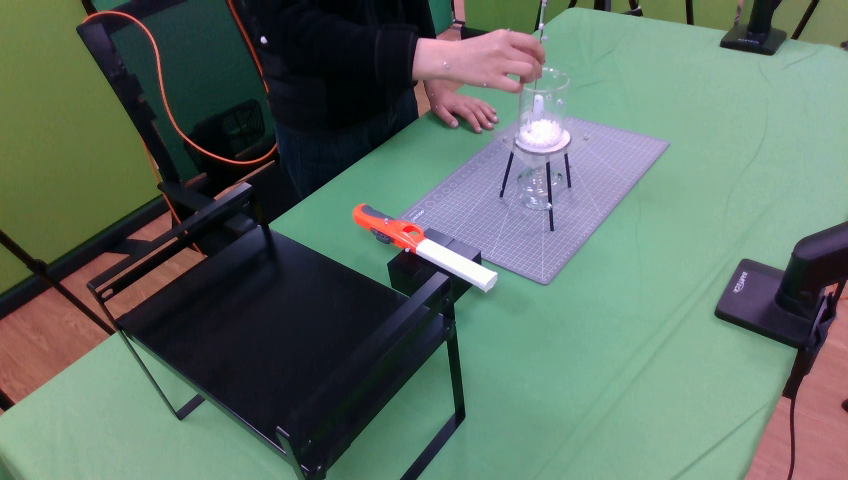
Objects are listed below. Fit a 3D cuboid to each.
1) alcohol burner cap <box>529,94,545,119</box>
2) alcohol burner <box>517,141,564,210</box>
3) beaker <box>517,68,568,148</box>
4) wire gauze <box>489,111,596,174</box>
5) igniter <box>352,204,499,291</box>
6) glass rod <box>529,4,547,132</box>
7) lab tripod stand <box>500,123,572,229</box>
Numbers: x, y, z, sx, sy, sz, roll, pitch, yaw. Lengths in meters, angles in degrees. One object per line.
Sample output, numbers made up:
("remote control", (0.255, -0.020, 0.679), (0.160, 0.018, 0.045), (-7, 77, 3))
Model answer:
("alcohol burner cap", (0.233, -0.277, 1.247), (0.034, 0.048, 0.033), (-5, 41, 5))
("alcohol burner", (0.193, -0.110, 1.001), (0.078, 0.119, 0.077), (-5, 38, 5))
("beaker", (0.179, -0.198, 0.914), (0.073, 0.100, 0.084), (25, 49, 31))
("wire gauze", (0.183, -0.159, 0.943), (0.122, 0.011, 0.124), (-25, 47, -17))
("igniter", (-0.009, 0.005, 0.895), (0.274, 0.025, 0.057), (27, 48, 32))
("glass rod", (0.163, -0.241, 0.874), (0.008, 0.200, 0.008), (-1, 44, 1))
("lab tripod stand", (0.194, -0.110, 0.985), (0.148, 0.132, 0.147), (-3, 41, 3))
